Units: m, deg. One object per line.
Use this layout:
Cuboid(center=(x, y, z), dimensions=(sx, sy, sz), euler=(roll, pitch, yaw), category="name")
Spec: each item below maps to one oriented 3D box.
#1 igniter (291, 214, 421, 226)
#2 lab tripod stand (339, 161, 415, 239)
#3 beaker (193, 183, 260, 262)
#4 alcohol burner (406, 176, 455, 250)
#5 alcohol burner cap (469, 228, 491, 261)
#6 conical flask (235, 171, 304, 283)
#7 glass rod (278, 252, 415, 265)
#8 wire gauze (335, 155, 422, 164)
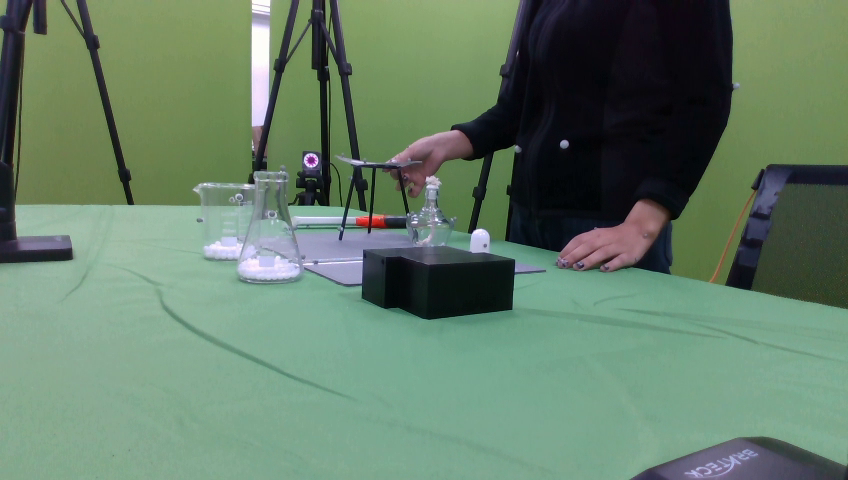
Cuboid(center=(-0.135, -0.041, 1.249), dimensions=(0.278, 0.025, 0.057), euler=(-1, -3, -28), category="igniter")
Cuboid(center=(-0.082, -0.070, 1.059), dimensions=(0.148, 0.131, 0.148), euler=(4, 6, 0), category="lab tripod stand")
Cuboid(center=(-0.262, -0.025, 0.806), dimensions=(0.084, 0.100, 0.073), euler=(-3, 9, -30), category="beaker")
Cuboid(center=(0.012, -0.044, 0.963), dimensions=(0.078, 0.119, 0.078), euler=(4, 7, 0), category="alcohol burner")
Cuboid(center=(0.082, 0.006, 0.878), dimensions=(0.034, 0.048, 0.034), euler=(2, 7, 0), category="alcohol burner cap")
Cuboid(center=(-0.172, -0.016, 0.677), dimensions=(0.075, 0.122, 0.075), euler=(2, 7, 0), category="conical flask")
Cuboid(center=(-0.097, 0.024, 0.805), dimensions=(0.201, 0.008, 0.008), euler=(-3, 8, -33), category="glass rod")
Cuboid(center=(-0.081, -0.137, 1.051), dimensions=(0.122, 0.011, 0.124), euler=(0, 8, -27), category="wire gauze")
